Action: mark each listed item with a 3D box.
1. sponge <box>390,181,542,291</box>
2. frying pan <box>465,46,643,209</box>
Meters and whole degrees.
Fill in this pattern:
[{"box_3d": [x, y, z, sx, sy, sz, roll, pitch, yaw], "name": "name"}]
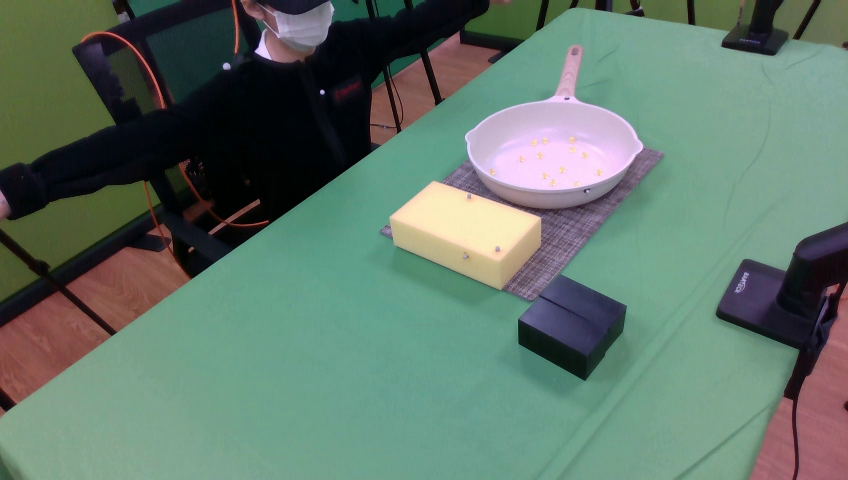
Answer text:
[{"box_3d": [0.065, -0.012, 0.945, 0.205, 0.061, 0.118, 22, 49, 30], "name": "sponge"}, {"box_3d": [0.255, -0.228, 1.135, 0.305, 0.103, 0.487, 9, 51, 17], "name": "frying pan"}]
